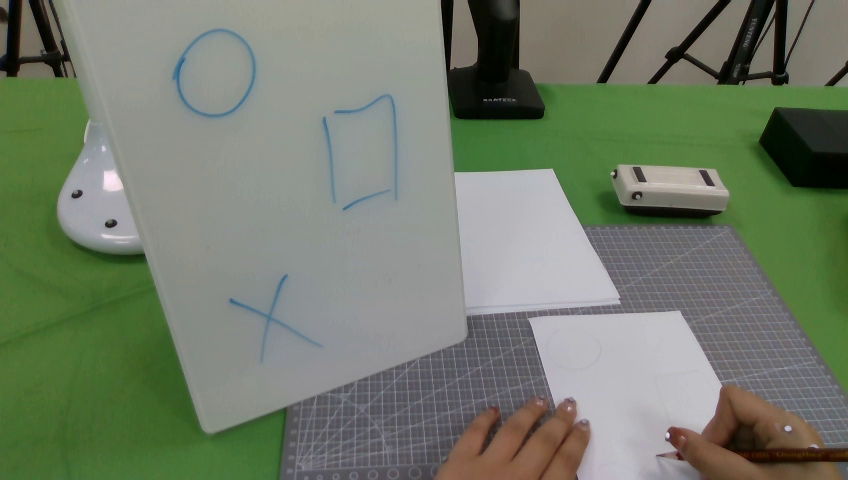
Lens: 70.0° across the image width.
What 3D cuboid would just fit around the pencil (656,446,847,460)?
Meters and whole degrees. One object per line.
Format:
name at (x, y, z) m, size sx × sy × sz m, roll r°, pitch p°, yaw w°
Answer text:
pencil at (0.225, 0.130, 0.368) m, size 0.012 × 0.193 × 0.012 m, roll 13°, pitch 67°, yaw -32°

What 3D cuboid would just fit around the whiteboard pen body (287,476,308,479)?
whiteboard pen body at (-0.139, 0.178, 0.378) m, size 0.141 × 0.017 × 0.017 m, roll -14°, pitch 45°, yaw -21°

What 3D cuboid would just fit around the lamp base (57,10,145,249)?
lamp base at (-0.285, -0.109, 0.565) m, size 0.178 × 0.182 × 0.160 m, roll 27°, pitch 47°, yaw 26°

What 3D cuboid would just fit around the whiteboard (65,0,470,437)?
whiteboard at (-0.101, -0.048, 0.464) m, size 0.218 × 0.307 × 0.142 m, roll -16°, pitch 27°, yaw -20°

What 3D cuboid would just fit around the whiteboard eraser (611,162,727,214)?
whiteboard eraser at (0.266, -0.056, 0.662) m, size 0.113 × 0.042 × 0.055 m, roll 4°, pitch 43°, yaw -1°
